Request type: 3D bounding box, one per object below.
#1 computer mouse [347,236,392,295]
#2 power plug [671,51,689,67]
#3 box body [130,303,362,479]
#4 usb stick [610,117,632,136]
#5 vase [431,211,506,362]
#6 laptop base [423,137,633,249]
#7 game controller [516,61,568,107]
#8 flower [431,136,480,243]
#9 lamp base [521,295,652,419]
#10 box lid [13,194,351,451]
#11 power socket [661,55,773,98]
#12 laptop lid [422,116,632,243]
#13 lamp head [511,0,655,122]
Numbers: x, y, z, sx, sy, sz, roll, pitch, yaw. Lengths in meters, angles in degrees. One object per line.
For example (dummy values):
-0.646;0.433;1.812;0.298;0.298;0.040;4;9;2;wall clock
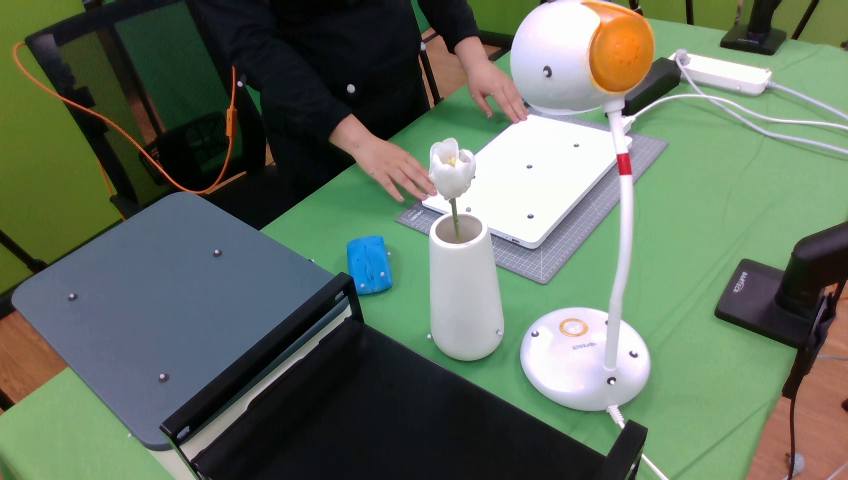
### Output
-0.086;0.035;0.936;0.063;0.041;0.116;-8;44;-5;computer mouse
0.541;-0.378;1.301;0.073;0.053;0.035;-33;46;-23;power plug
-0.285;0.123;0.766;0.361;0.161;0.255;25;49;33;box body
0.370;-0.208;1.147;0.021;0.027;0.059;28;56;31;usb stick
0.054;0.062;0.757;0.098;0.201;0.097;-3;40;3;vase
0.193;-0.117;1.087;0.233;0.023;0.355;20;47;35;laptop base
0.259;-0.352;1.336;0.097;0.052;0.154;-3;41;2;game controller
0.041;0.011;0.691;0.044;0.363;0.038;16;62;14;flower
0.201;0.095;0.710;0.161;0.181;0.177;-16;43;-10;lamp base
-0.292;0.067;0.717;0.368;0.015;0.264;25;50;33;box lid
0.619;-0.352;1.289;0.225;0.033;0.072;26;51;33;power socket
0.189;-0.126;1.081;0.239;0.013;0.358;23;48;35;laptop lid
0.155;-0.168;0.564;0.113;0.113;0.122;-18;23;-12;lamp head
